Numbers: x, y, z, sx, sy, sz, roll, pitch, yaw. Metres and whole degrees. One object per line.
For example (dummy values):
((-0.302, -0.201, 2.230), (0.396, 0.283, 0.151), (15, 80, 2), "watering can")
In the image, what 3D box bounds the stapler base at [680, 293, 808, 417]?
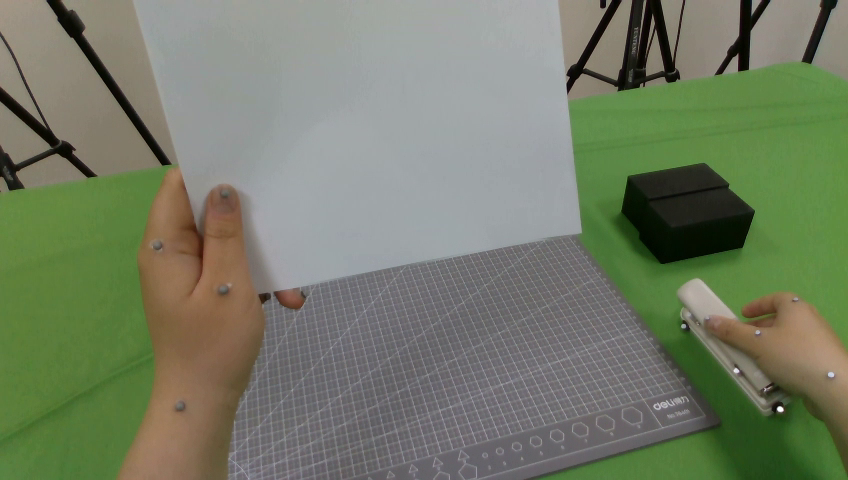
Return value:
((0.276, 0.093, 0.540), (0.041, 0.025, 0.129), (-41, 41, 13), "stapler base")

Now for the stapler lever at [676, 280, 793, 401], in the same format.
((0.262, 0.081, 0.523), (0.027, 0.040, 0.116), (-41, 41, 13), "stapler lever")
